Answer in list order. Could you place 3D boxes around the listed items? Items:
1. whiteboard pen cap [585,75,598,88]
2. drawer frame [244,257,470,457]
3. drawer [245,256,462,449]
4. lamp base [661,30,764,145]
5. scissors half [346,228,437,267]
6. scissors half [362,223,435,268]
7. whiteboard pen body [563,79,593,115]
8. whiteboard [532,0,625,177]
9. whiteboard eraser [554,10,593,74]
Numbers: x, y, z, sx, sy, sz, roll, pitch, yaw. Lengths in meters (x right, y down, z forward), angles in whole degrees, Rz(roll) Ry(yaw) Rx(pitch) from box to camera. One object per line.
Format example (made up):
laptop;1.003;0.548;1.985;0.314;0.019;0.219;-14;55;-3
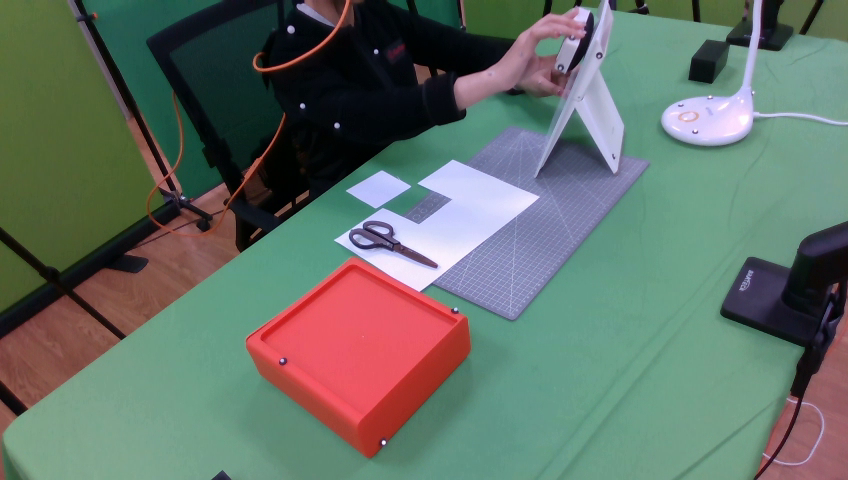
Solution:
whiteboard pen cap;0.362;-0.343;1.310;0.018;0.018;0.033;19;54;29
drawer frame;-0.084;0.138;0.788;0.212;0.083;0.202;25;50;33
drawer;-0.089;0.136;0.792;0.210;0.073;0.195;27;51;34
lamp base;0.535;-0.287;1.096;0.179;0.181;0.159;-10;40;-4
scissors half;-0.055;0.014;0.974;0.174;0.013;0.040;19;32;24
scissors half;-0.041;0.009;0.989;0.040;0.013;0.173;-14;33;-38
whiteboard pen body;0.328;-0.306;1.278;0.017;0.017;0.141;20;51;30
whiteboard;0.320;-0.258;1.050;0.144;0.306;0.217;21;45;5
whiteboard eraser;0.244;-0.319;0.976;0.042;0.055;0.112;25;52;0
